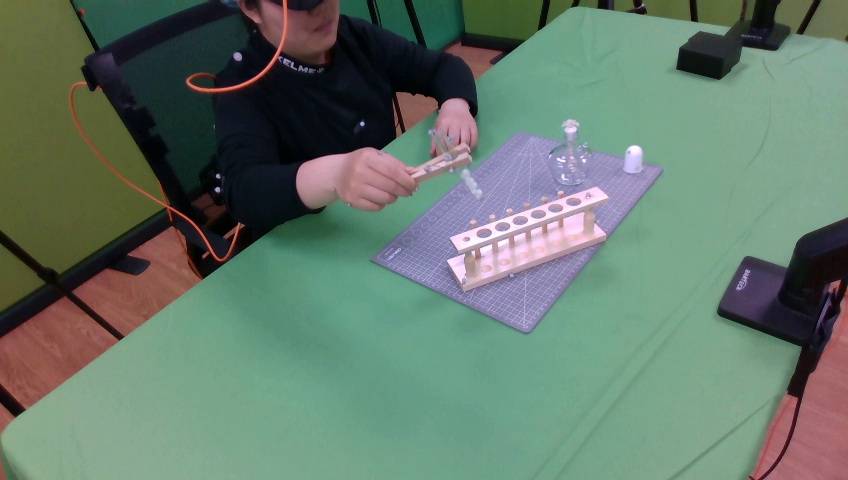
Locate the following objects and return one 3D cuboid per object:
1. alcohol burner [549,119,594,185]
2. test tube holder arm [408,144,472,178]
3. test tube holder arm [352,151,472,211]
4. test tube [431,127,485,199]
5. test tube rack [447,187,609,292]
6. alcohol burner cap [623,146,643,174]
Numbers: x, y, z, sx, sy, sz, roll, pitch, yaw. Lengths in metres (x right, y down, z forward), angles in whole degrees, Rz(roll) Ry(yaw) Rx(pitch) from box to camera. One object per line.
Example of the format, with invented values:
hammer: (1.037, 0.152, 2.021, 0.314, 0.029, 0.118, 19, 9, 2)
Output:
alcohol burner: (0.254, -0.155, 1.043, 0.078, 0.120, 0.077, -7, 40, 7)
test tube holder arm: (0.019, -0.095, 0.762, 0.087, 0.015, 0.010, -26, 43, 20)
test tube holder arm: (-0.019, -0.074, 0.776, 0.177, 0.015, 0.013, -22, 45, 24)
test tube: (0.046, -0.093, 0.765, 0.017, 0.151, 0.017, -12, 58, 21)
test tube rack: (0.155, -0.011, 0.913, 0.243, 0.085, 0.066, -19, 41, -11)
alcohol burner cap: (0.369, -0.143, 1.061, 0.034, 0.048, 0.033, -7, 41, 6)
